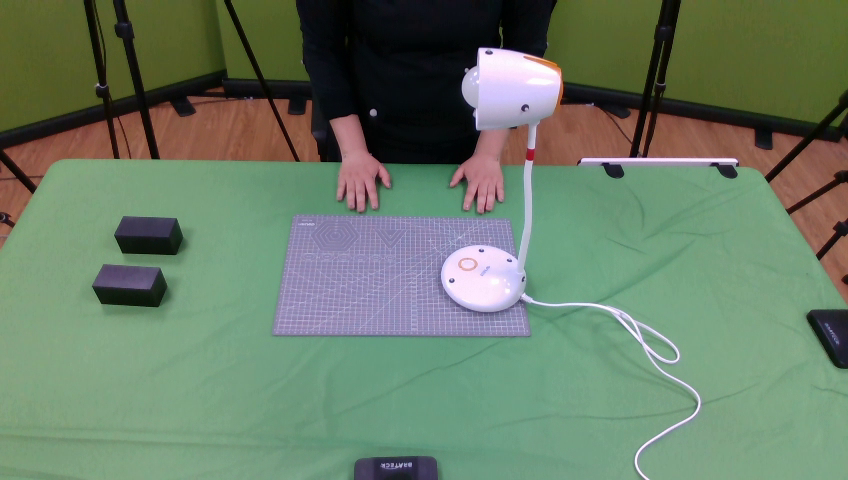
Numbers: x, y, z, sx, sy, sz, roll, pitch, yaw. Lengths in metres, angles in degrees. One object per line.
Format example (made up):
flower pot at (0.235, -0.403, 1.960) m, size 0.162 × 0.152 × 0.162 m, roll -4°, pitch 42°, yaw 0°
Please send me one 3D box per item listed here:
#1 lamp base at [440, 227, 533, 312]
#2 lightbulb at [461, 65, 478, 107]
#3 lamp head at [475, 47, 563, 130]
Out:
lamp base at (0.126, 0.021, 1.073) m, size 0.179 × 0.181 × 0.160 m, roll 22°, pitch 49°, yaw 13°
lightbulb at (0.106, -0.214, 0.850) m, size 0.108 × 0.060 × 0.059 m, roll 4°, pitch 45°, yaw -2°
lamp head at (0.129, -0.206, 0.840) m, size 0.123 × 0.113 × 0.112 m, roll 5°, pitch 45°, yaw -1°
